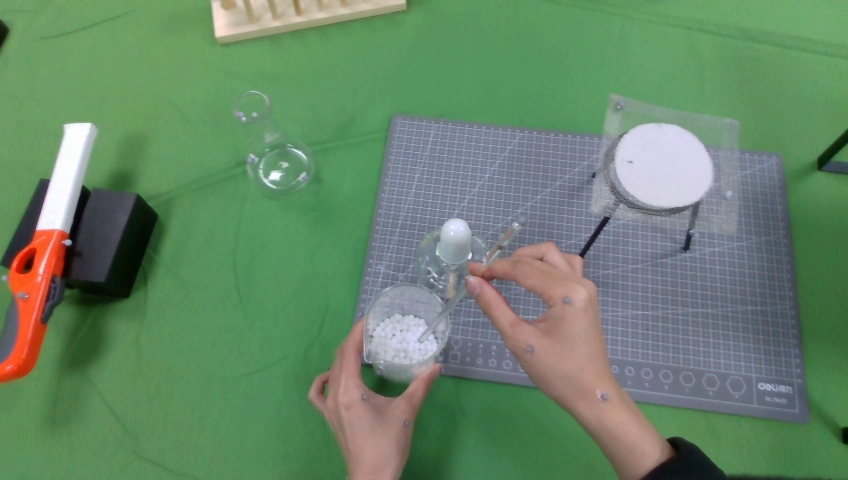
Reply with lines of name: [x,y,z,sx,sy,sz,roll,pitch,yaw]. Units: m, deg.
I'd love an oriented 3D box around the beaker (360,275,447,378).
beaker: [-0.022,0.087,0.556,0.084,0.101,0.073,-40,75,-17]

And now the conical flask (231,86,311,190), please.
conical flask: [-0.167,-0.111,0.640,0.075,0.123,0.075,0,67,1]

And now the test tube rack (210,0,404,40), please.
test tube rack: [-0.151,-0.323,0.747,0.242,0.086,0.066,-12,68,-4]

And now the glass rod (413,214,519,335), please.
glass rod: [0.024,0.033,0.450,0.008,0.200,0.008,10,59,-16]

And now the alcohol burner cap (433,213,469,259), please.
alcohol burner cap: [0.027,-0.007,0.556,0.034,0.048,0.033,1,61,-2]

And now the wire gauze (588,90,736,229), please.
wire gauze: [0.214,-0.073,0.536,0.121,0.011,0.124,12,69,4]

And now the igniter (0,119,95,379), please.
igniter: [-0.374,0.000,0.600,0.057,0.025,0.274,-2,67,5]

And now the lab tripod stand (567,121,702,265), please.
lab tripod stand: [0.207,-0.043,0.597,0.148,0.132,0.147,0,66,0]

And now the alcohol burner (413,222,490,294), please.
alcohol burner: [0.028,0.010,0.589,0.078,0.120,0.077,0,66,-1]
